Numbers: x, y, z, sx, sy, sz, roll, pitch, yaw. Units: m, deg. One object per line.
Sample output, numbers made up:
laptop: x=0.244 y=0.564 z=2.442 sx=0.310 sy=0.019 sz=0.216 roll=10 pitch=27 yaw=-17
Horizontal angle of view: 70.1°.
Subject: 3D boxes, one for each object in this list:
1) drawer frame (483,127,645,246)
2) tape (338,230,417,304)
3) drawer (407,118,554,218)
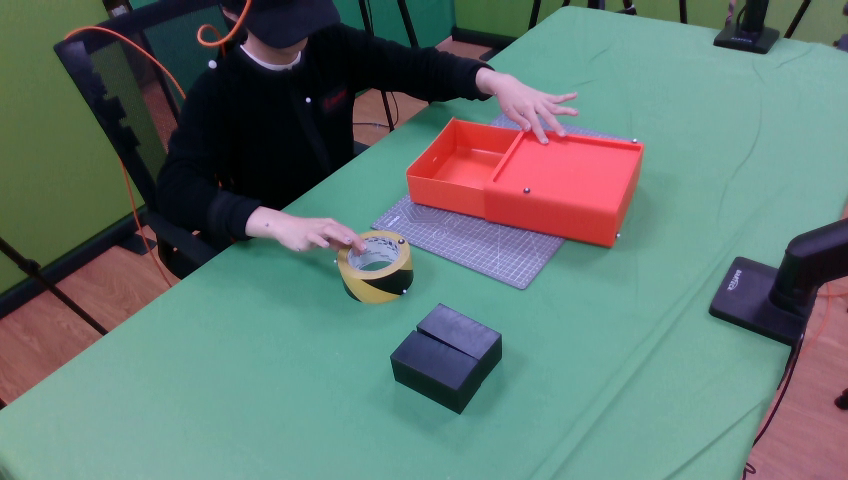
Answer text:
drawer frame: x=0.234 y=-0.096 z=1.003 sx=0.212 sy=0.083 sz=0.202 roll=13 pitch=44 yaw=22
tape: x=-0.069 y=0.041 z=0.918 sx=0.117 sy=0.053 sz=0.116 roll=-5 pitch=41 yaw=4
drawer: x=0.108 y=-0.126 z=1.060 sx=0.210 sy=0.073 sz=0.194 roll=15 pitch=44 yaw=24
